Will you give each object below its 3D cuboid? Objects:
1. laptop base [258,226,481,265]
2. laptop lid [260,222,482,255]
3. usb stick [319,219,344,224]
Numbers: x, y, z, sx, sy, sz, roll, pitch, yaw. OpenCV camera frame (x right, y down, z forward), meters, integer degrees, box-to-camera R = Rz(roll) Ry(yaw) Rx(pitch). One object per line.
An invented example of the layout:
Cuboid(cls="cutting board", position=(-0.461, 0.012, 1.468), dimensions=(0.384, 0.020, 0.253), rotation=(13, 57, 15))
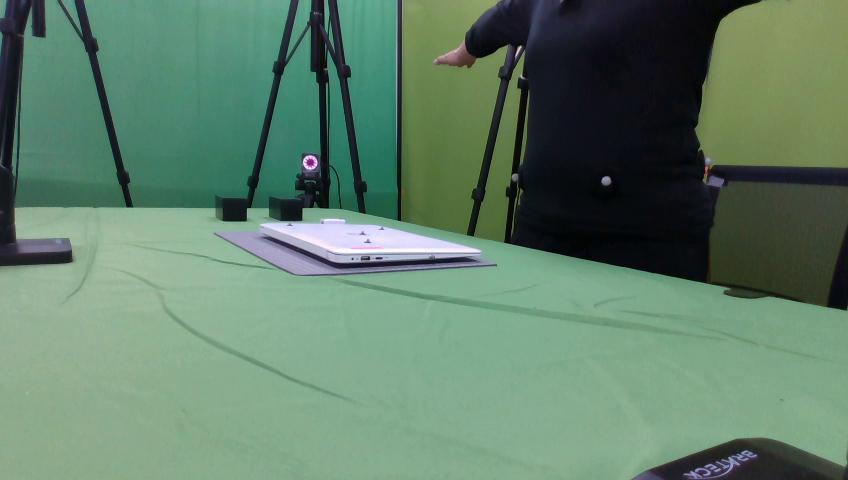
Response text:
Cuboid(cls="laptop base", position=(-0.102, 0.007, 0.962), dimensions=(0.237, 0.023, 0.352), rotation=(2, 6, -32))
Cuboid(cls="laptop lid", position=(-0.100, -0.005, 0.962), dimensions=(0.243, 0.013, 0.355), rotation=(1, 7, -30))
Cuboid(cls="usb stick", position=(-0.184, -0.027, 1.153), dimensions=(0.059, 0.027, 0.021), rotation=(-5, 14, -31))
